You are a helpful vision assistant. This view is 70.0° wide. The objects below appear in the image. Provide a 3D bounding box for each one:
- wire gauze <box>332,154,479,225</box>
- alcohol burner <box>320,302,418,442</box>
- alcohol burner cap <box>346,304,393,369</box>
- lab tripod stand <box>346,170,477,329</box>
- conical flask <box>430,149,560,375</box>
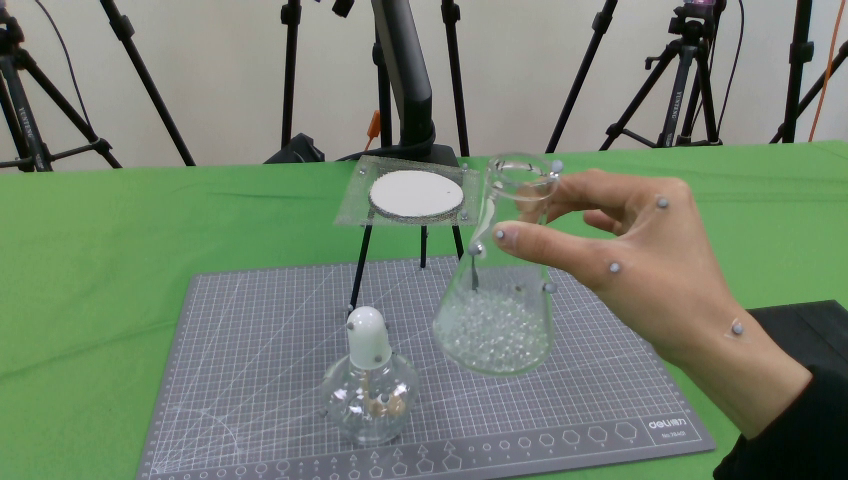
[{"bbox_3d":[-0.011,-0.046,0.552,0.121,0.011,0.124,5,34,3],"label":"wire gauze"},{"bbox_3d":[-0.043,0.099,0.471,0.078,0.120,0.077,0,32,0],"label":"alcohol burner"},{"bbox_3d":[-0.042,0.069,0.450,0.034,0.048,0.033,-4,37,3],"label":"alcohol burner cap"},{"bbox_3d":[-0.006,0.010,0.590,0.148,0.132,0.147,3,33,-1],"label":"lab tripod stand"},{"bbox_3d":[0.045,0.011,0.340,0.075,0.123,0.074,4,36,-2],"label":"conical flask"}]
